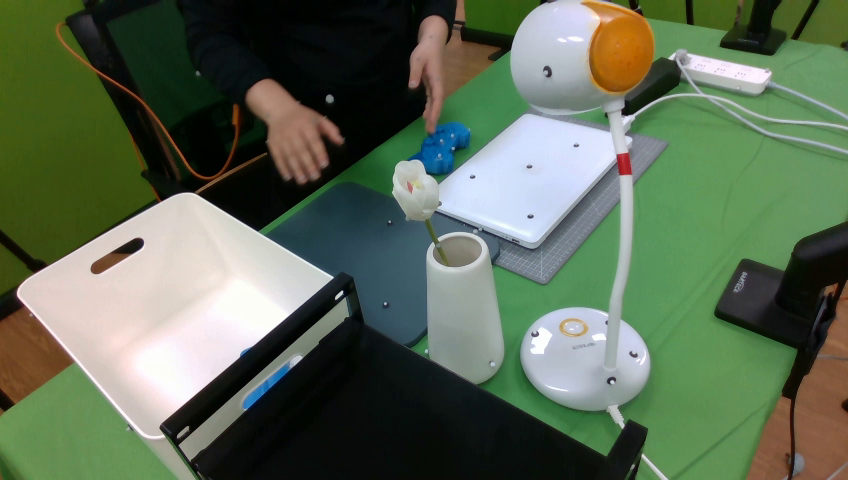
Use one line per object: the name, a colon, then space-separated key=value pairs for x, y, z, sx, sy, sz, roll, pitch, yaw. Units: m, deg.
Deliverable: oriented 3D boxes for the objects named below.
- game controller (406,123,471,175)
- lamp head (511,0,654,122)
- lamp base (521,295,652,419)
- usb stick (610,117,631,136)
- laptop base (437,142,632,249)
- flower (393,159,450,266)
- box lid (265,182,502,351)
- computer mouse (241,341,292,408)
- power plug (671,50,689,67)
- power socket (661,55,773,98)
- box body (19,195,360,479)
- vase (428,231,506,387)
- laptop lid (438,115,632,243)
game controller: x=0.028 y=-0.181 z=1.169 sx=0.096 sy=0.052 sz=0.155 roll=15 pitch=45 yaw=18
lamp head: x=0.155 y=-0.168 z=0.564 sx=0.113 sy=0.113 sz=0.122 roll=-18 pitch=23 yaw=-12
lamp base: x=0.201 y=0.095 z=0.710 sx=0.161 sy=0.181 sz=0.178 roll=-16 pitch=43 yaw=-10
usb stick: x=0.369 y=-0.208 z=1.147 sx=0.021 sy=0.027 sz=0.059 roll=25 pitch=55 yaw=33
laptop base: x=0.193 y=-0.117 z=1.087 sx=0.233 sy=0.023 sz=0.355 roll=21 pitch=48 yaw=34
flower: x=0.028 y=0.036 z=0.664 sx=0.043 sy=0.364 sz=0.038 roll=35 pitch=73 yaw=29
box lid: x=-0.087 y=0.023 z=0.971 sx=0.368 sy=0.015 sz=0.264 roll=23 pitch=49 yaw=31
computer mouse: x=-0.201 y=0.177 z=0.776 sx=0.063 sy=0.041 sz=0.116 roll=-11 pitch=44 yaw=-8
power plug: x=0.540 y=-0.379 z=1.302 sx=0.073 sy=0.053 sz=0.035 roll=-31 pitch=46 yaw=-23
power socket: x=0.619 y=-0.353 z=1.289 sx=0.225 sy=0.033 sz=0.072 roll=26 pitch=51 yaw=33
box body: x=-0.288 y=0.118 z=0.772 sx=0.361 sy=0.161 sz=0.255 roll=26 pitch=50 yaw=33
vase: x=0.050 y=0.087 z=0.728 sx=0.098 sy=0.201 sz=0.097 roll=-3 pitch=40 yaw=3
laptop lid: x=0.189 y=-0.126 z=1.081 sx=0.239 sy=0.013 sz=0.358 roll=23 pitch=48 yaw=35
